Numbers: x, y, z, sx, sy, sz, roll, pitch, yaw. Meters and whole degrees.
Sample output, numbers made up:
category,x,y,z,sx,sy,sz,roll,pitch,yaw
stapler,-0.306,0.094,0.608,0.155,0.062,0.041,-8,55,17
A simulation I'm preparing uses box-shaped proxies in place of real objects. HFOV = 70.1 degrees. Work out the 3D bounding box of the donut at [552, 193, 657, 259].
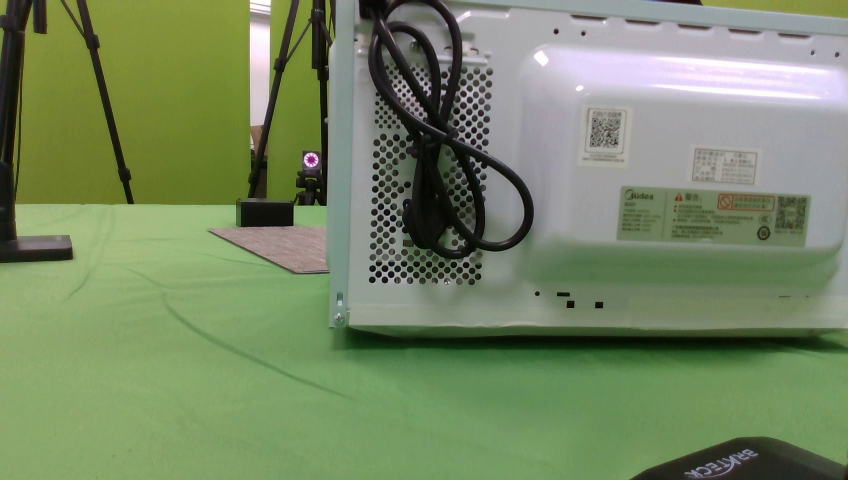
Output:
category,x,y,z,sx,sy,sz,roll,pitch,yaw
donut,0.171,-0.016,0.576,0.099,0.048,0.099,-9,17,3

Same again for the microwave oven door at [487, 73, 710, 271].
category,x,y,z,sx,sy,sz,roll,pitch,yaw
microwave oven door,0.226,-0.102,0.875,0.039,0.243,0.354,-3,9,-36

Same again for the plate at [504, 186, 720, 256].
category,x,y,z,sx,sy,sz,roll,pitch,yaw
plate,0.184,-0.021,0.616,0.209,0.038,0.209,4,13,-1

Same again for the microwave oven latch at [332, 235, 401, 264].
category,x,y,z,sx,sy,sz,roll,pitch,yaw
microwave oven latch,-0.066,0.010,0.700,0.079,0.029,0.030,2,6,-8

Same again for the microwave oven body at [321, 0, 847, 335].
category,x,y,z,sx,sy,sz,roll,pitch,yaw
microwave oven body,0.133,-0.062,0.568,0.443,0.260,0.325,2,6,-8
